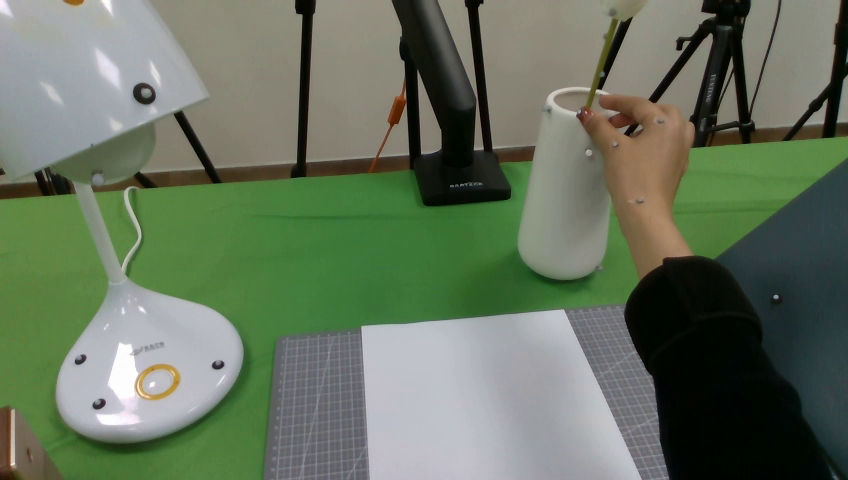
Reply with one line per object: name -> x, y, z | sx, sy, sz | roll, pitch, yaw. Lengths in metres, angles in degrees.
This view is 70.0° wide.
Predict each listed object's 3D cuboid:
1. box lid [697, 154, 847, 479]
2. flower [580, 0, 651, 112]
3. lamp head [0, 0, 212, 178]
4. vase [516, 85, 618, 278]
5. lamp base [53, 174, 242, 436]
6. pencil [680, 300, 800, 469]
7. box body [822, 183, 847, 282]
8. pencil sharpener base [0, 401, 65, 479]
box lid -> 0.410, 0.066, 0.482 | 0.015, 0.263, 0.367 | 34, 24, -30
flower -> 0.148, -0.110, 0.575 | 0.044, 0.364, 0.038 | 32, 60, 17
lamp head -> -0.191, -0.107, 0.315 | 0.112, 0.123, 0.112 | -24, 16, 8
vase -> 0.151, -0.057, 0.642 | 0.098, 0.202, 0.097 | -1, 36, 1
lamp base -> -0.258, 0.045, 0.517 | 0.161, 0.182, 0.177 | -26, 42, -30
pencil -> 0.283, 0.123, 0.554 | 0.012, 0.012, 0.192 | -5, 38, -7
box body -> 0.590, 0.045, 0.538 | 0.254, 0.162, 0.360 | -5, 37, -6
pencil sharpener base -> -0.297, 0.173, 0.405 | 0.077, 0.108, 0.060 | -18, 41, -22
